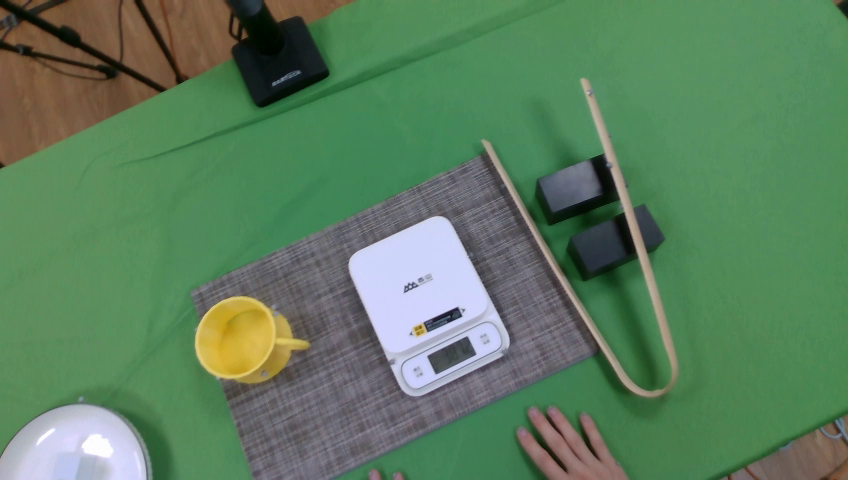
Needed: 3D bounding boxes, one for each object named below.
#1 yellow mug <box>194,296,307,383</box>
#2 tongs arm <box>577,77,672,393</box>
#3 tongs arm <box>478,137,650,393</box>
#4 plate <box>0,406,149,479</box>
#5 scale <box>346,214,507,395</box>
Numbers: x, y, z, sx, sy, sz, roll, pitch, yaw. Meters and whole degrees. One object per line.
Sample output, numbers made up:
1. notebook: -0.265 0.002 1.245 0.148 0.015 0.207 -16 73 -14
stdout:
1. yellow mug: -0.211 0.126 0.756 0.131 0.064 0.099 3 73 6
2. tongs arm: 0.229 -0.013 0.727 0.050 0.027 0.383 -22 77 28
3. tongs arm: 0.166 0.021 0.766 0.028 0.028 0.384 -35 71 21
4. plate: -0.434 0.311 0.744 0.207 0.039 0.206 -2 73 5
5. scale: 0.000 0.078 0.765 0.149 0.032 0.199 -26 73 -1
